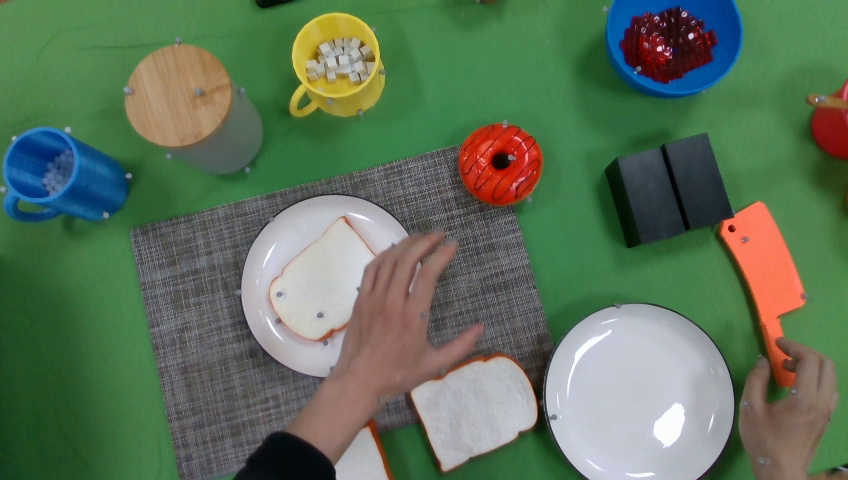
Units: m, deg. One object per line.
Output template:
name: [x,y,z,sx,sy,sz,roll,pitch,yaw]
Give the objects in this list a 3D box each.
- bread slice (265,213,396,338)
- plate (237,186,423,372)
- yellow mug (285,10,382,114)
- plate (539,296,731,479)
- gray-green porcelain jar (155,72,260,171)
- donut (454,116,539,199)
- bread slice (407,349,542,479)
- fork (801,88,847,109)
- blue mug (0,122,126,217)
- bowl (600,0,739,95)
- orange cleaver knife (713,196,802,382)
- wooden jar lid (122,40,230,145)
bread slice: [-0.113,0.048,0.694,0.131,0.019,0.104,-41,83,-6]
plate: [-0.104,0.044,0.692,0.208,0.039,0.207,0,83,1]
yellow mug: [-0.113,-0.197,0.711,0.099,0.064,0.131,43,86,6]
plate: [0.230,0.167,0.676,0.209,0.038,0.208,0,83,1]
gray-green porcelain jar: [-0.247,-0.139,0.676,0.106,0.127,0.105,0,83,1]
donut: [0.084,-0.095,0.703,0.099,0.048,0.099,0,84,1]
bread slice: [0.063,0.180,0.651,0.134,0.018,0.106,-20,80,-21]
fork: [0.452,-0.146,0.655,0.208,0.018,0.028,-2,81,-41]
blue mug: [-0.414,-0.066,0.679,0.116,0.106,0.082,-40,83,-4]
bowl: [0.272,-0.231,0.702,0.151,0.077,0.151,0,83,1]
orange cleaver knife: [0.395,0.054,0.697,0.077,0.012,0.210,-13,82,-7]
wooden jar lid: [-0.249,-0.147,0.614,0.108,0.021,0.108,0,81,2]
